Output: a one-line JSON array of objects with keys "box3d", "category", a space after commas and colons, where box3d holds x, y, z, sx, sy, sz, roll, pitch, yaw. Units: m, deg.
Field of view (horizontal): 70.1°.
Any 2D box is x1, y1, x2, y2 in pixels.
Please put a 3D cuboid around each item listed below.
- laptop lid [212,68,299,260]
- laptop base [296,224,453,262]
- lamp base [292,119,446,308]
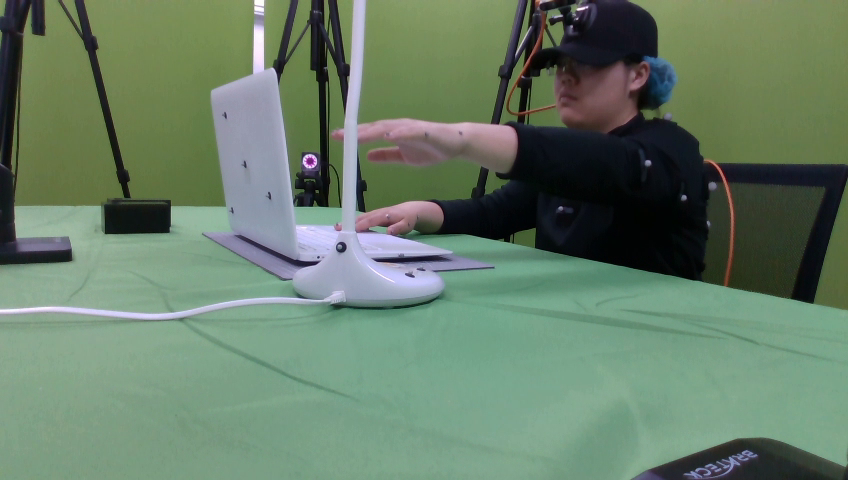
[{"box3d": [-0.254, -0.110, 0.872, 0.013, 0.241, 0.355, -11, 14, -30], "category": "laptop lid"}, {"box3d": [-0.143, 0.003, 0.957, 0.237, 0.023, 0.352, 2, 6, -32], "category": "laptop base"}, {"box3d": [-0.056, -0.030, 0.616, 0.160, 0.180, 0.179, 4, 10, 8], "category": "lamp base"}]
